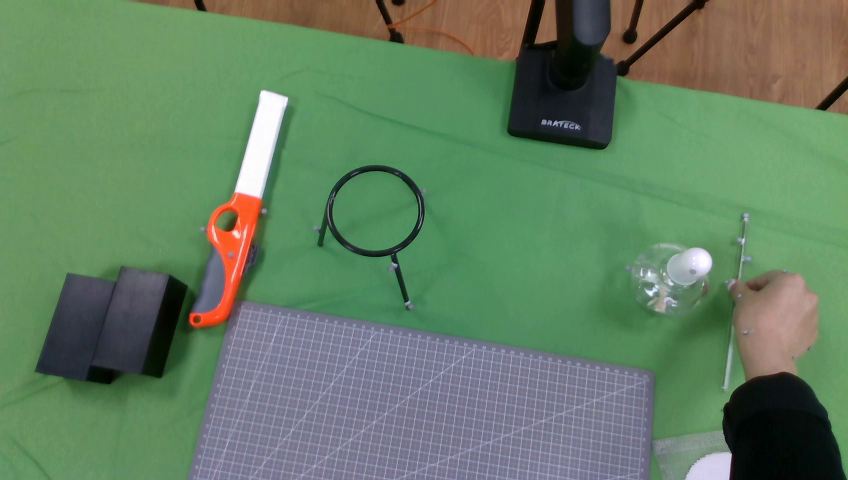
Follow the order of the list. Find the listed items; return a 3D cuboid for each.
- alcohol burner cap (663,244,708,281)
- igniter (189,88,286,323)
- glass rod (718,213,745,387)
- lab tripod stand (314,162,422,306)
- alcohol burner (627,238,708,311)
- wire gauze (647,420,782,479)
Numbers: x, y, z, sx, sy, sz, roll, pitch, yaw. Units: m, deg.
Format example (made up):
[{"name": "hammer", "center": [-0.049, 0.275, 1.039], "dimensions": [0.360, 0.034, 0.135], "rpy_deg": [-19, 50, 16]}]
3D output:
[{"name": "alcohol burner cap", "center": [0.253, 0.020, 0.579], "dimensions": [0.034, 0.048, 0.033], "rpy_deg": [-1, 77, 3]}, {"name": "igniter", "center": [-0.200, -0.041, 0.665], "dimensions": [0.057, 0.025, 0.275], "rpy_deg": [15, 73, -13]}, {"name": "glass rod", "center": [0.336, 0.062, 0.661], "dimensions": [0.008, 0.008, 0.199], "rpy_deg": [15, 74, 3]}, {"name": "lab tripod stand", "center": [-0.046, -0.015, 0.608], "dimensions": [0.148, 0.132, 0.147], "rpy_deg": [0, 72, 0]}, {"name": "alcohol burner", "center": [0.252, 0.030, 0.614], "dimensions": [0.078, 0.119, 0.077], "rpy_deg": [1, 72, -2]}, {"name": "wire gauze", "center": [0.299, 0.249, 0.607], "dimensions": [0.125, 0.011, 0.120], "rpy_deg": [-8, 74, -1]}]
